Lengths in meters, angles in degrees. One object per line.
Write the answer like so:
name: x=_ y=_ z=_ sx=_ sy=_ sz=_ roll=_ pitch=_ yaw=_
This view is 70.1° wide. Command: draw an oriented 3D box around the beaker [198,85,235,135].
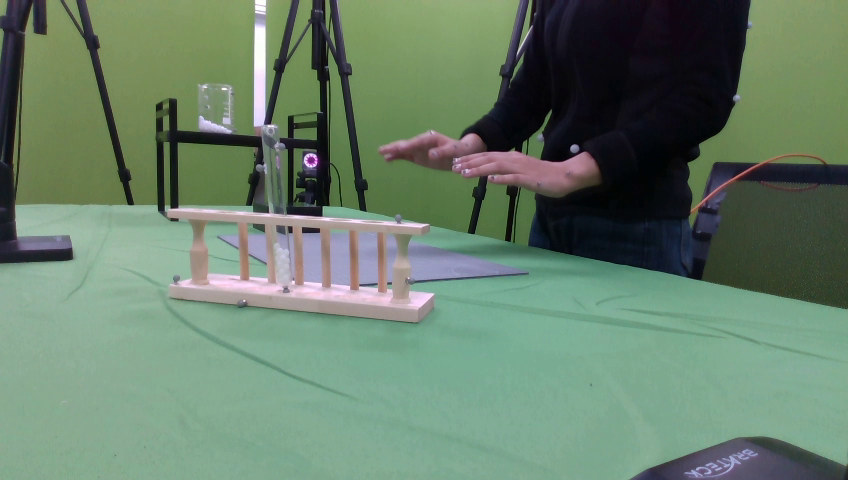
beaker: x=-0.439 y=-0.273 z=1.275 sx=0.074 sy=0.100 sz=0.084 roll=5 pitch=8 yaw=19

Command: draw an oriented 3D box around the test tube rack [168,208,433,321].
test tube rack: x=-0.115 y=0.017 z=0.574 sx=0.242 sy=0.085 sz=0.067 roll=4 pitch=8 yaw=13

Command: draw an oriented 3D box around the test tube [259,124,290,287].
test tube: x=-0.137 y=-0.031 z=0.556 sx=0.017 sy=0.150 sz=0.017 roll=-4 pitch=7 yaw=1
